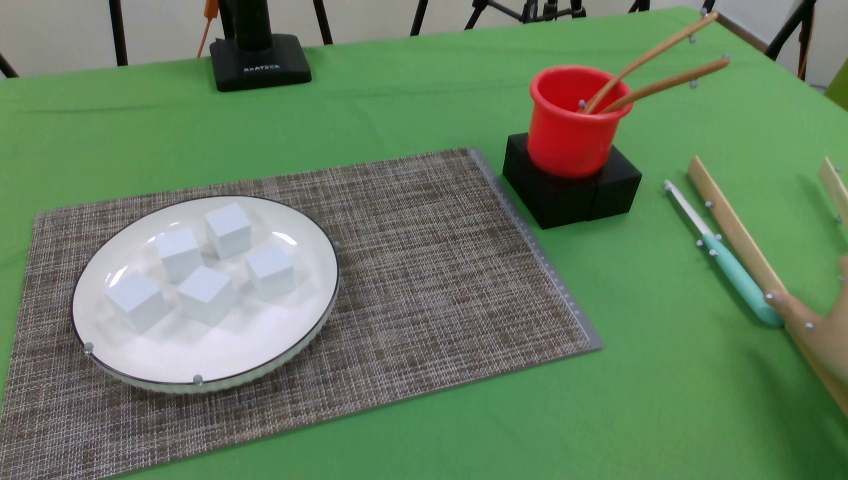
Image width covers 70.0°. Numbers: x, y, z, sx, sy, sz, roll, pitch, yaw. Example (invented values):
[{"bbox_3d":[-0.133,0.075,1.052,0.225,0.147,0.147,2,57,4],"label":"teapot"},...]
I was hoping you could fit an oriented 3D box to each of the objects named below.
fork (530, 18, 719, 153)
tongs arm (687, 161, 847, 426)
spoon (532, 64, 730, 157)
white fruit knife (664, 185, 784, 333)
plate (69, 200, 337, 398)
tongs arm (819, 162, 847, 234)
[{"bbox_3d":[0.191,-0.147,0.587,0.207,0.019,0.028,-38,23,14],"label":"fork"},{"bbox_3d":[0.328,0.052,0.553,0.028,0.028,0.383,-1,44,-8],"label":"tongs arm"},{"bbox_3d":[0.178,-0.114,0.551,0.022,0.193,0.041,55,46,-9],"label":"spoon"},{"bbox_3d":[0.289,0.009,0.604,0.027,0.016,0.205,18,35,-28],"label":"white fruit knife"},{"bbox_3d":[-0.177,0.047,0.508,0.208,0.039,0.205,2,44,-2],"label":"plate"},{"bbox_3d":[0.408,0.052,0.551,0.051,0.027,0.381,5,45,4],"label":"tongs arm"}]
